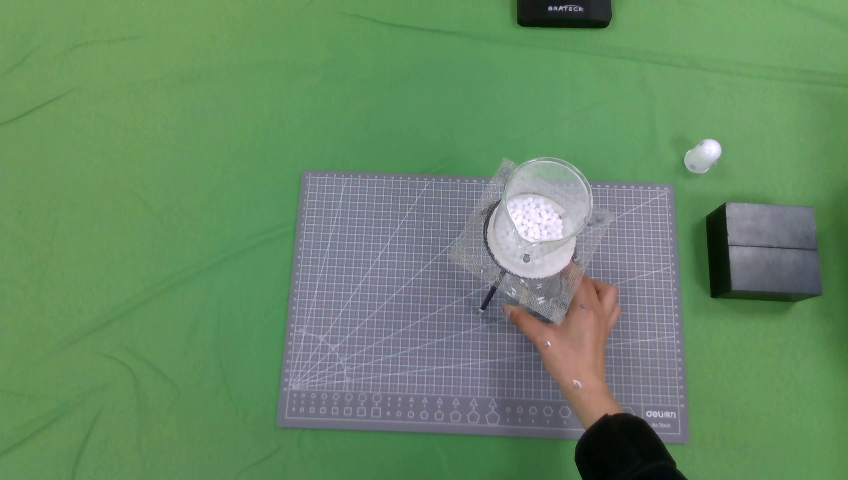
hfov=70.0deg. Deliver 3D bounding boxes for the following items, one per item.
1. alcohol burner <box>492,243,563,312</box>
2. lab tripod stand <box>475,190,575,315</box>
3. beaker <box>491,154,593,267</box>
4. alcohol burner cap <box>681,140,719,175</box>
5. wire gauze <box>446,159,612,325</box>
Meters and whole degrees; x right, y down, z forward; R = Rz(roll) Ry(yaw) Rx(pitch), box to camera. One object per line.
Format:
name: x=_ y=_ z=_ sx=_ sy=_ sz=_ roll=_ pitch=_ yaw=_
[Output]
alcohol burner: x=0.114 y=0.037 z=0.647 sx=0.078 sy=0.119 sz=0.077 roll=1 pitch=75 yaw=-3
lab tripod stand: x=0.103 y=0.009 z=0.644 sx=0.148 sy=0.132 sz=0.147 roll=1 pitch=74 yaw=-2
beaker: x=0.097 y=-0.017 z=0.533 sx=0.074 sy=0.101 sz=0.083 roll=27 pitch=76 yaw=7
alcohol burner cap: x=0.332 y=-0.101 z=0.724 sx=0.034 sy=0.048 sz=0.033 roll=0 pitch=74 yaw=1
wire gauze: x=0.101 y=-0.002 z=0.579 sx=0.125 sy=0.011 sz=0.121 roll=31 pitch=78 yaw=5
